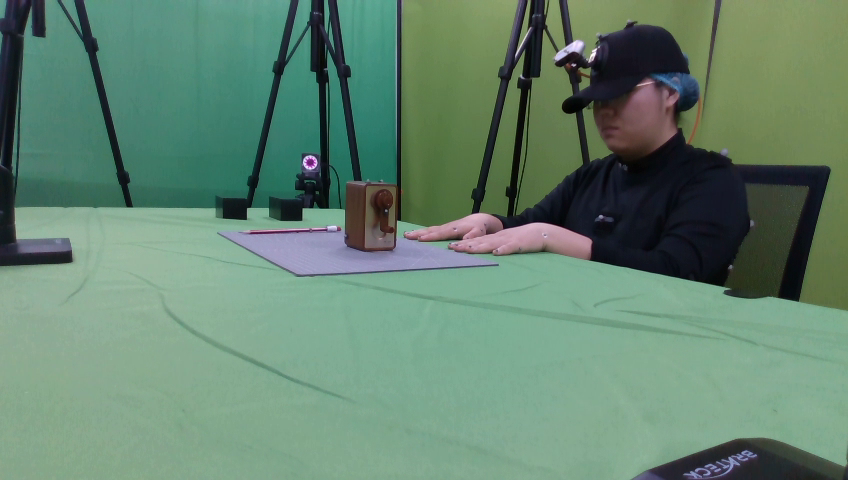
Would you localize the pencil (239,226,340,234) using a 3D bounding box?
[{"bbox_3d":[-0.245,-0.018,1.120,0.195,0.012,0.012,-3,9,-34],"label":"pencil"}]

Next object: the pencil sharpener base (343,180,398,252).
[{"bbox_3d":[-0.085,-0.038,0.956,0.062,0.107,0.076,-1,9,-33],"label":"pencil sharpener base"}]

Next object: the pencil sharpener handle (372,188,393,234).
[{"bbox_3d":[-0.056,-0.044,0.912,0.036,0.067,0.030,-2,9,-33],"label":"pencil sharpener handle"}]
